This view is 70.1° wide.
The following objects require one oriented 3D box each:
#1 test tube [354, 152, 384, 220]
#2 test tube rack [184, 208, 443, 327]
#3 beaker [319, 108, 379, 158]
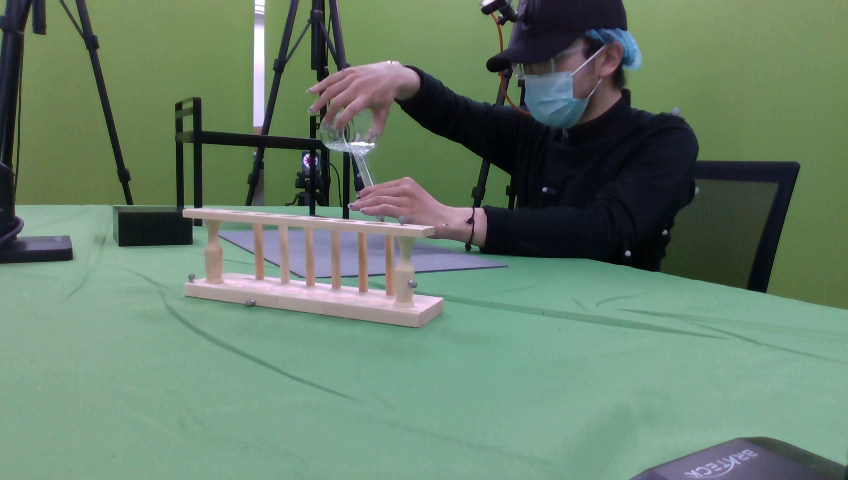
[{"bbox_3d":[-0.092,-0.090,1.004,0.017,0.017,0.149,-2,51,-27],"label":"test tube"},{"bbox_3d":[-0.106,0.019,0.570,0.241,0.085,0.067,5,8,20],"label":"test tube rack"},{"bbox_3d":[-0.137,-0.190,1.078,0.074,0.084,0.100,1,8,-37],"label":"beaker"}]
